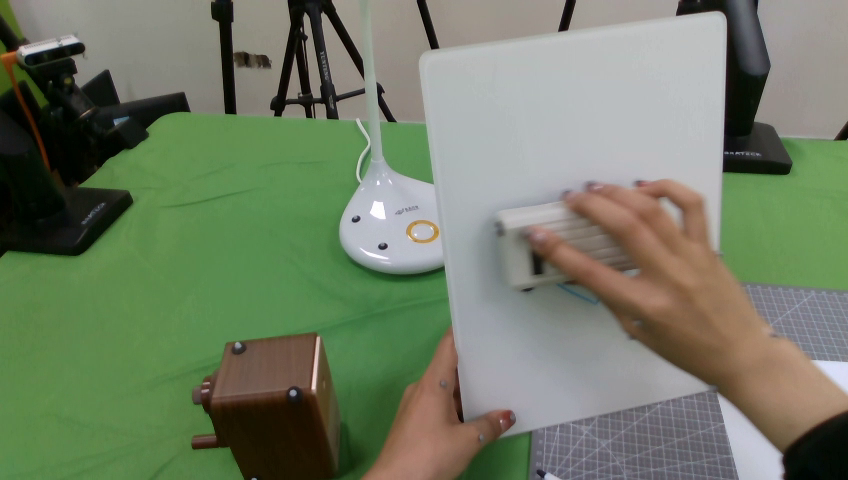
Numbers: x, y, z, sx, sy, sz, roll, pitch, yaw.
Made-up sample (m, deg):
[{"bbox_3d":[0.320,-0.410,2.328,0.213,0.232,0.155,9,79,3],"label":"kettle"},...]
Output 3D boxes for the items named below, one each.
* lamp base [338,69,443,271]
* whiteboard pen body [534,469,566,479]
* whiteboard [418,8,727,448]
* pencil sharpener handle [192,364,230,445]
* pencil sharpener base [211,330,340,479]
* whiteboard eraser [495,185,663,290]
[{"bbox_3d":[-0.031,-0.084,0.661,0.161,0.182,0.177,-27,41,-27],"label":"lamp base"},{"bbox_3d":[0.137,0.197,0.418,0.139,0.017,0.017,23,45,33],"label":"whiteboard pen body"},{"bbox_3d":[0.110,-0.016,0.509,0.217,0.307,0.143,-10,19,-7],"label":"whiteboard"},{"bbox_3d":[-0.161,0.124,0.445,0.030,0.068,0.035,-5,26,-1],"label":"pencil sharpener handle"},{"bbox_3d":[-0.110,0.127,0.458,0.077,0.108,0.060,-5,39,-1],"label":"pencil sharpener base"},{"bbox_3d":[0.108,-0.002,0.423,0.113,0.056,0.041,-10,20,-5],"label":"whiteboard eraser"}]
